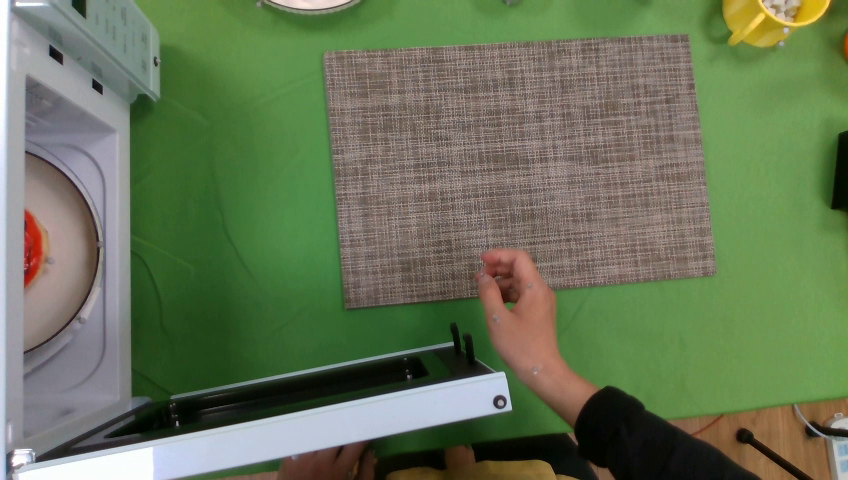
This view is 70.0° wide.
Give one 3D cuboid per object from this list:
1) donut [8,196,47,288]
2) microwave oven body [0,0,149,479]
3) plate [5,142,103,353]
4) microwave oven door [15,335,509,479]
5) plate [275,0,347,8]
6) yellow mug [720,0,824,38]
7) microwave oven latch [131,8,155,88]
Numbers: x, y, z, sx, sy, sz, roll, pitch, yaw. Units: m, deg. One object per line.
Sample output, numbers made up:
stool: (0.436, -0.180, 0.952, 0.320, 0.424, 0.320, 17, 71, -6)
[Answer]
donut: (-0.414, 0.003, 0.577, 0.099, 0.048, 0.099, 0, 88, -4)
microwave oven body: (-0.439, -0.031, 0.535, 0.326, 0.260, 0.441, -2, 88, -6)
plate: (-0.419, 0.008, 0.587, 0.209, 0.038, 0.208, 0, 87, -6)
microwave oven door: (-0.119, 0.146, 0.552, 0.356, 0.244, 0.039, -10, 87, -6)
plate: (-0.133, -0.365, 0.698, 0.208, 0.039, 0.207, 0, 87, -5)
yellow mug: (0.413, -0.295, 0.732, 0.100, 0.064, 0.131, 43, 85, -1)
microwave oven latch: (-0.307, -0.207, 0.653, 0.030, 0.029, 0.079, 0, 88, -6)
